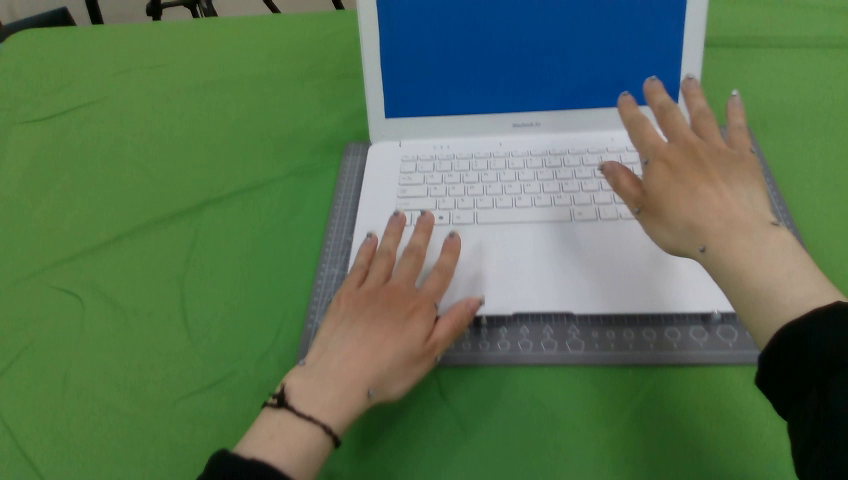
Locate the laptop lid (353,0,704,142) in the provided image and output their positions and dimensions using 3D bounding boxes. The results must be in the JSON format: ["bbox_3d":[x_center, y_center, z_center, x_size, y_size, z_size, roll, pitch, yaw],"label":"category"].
[{"bbox_3d":[0.103,-0.219,0.623,0.356,0.243,0.013,-3,22,6],"label":"laptop lid"}]

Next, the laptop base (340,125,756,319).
[{"bbox_3d":[0.106,-0.023,0.591,0.354,0.023,0.233,-2,52,5],"label":"laptop base"}]
